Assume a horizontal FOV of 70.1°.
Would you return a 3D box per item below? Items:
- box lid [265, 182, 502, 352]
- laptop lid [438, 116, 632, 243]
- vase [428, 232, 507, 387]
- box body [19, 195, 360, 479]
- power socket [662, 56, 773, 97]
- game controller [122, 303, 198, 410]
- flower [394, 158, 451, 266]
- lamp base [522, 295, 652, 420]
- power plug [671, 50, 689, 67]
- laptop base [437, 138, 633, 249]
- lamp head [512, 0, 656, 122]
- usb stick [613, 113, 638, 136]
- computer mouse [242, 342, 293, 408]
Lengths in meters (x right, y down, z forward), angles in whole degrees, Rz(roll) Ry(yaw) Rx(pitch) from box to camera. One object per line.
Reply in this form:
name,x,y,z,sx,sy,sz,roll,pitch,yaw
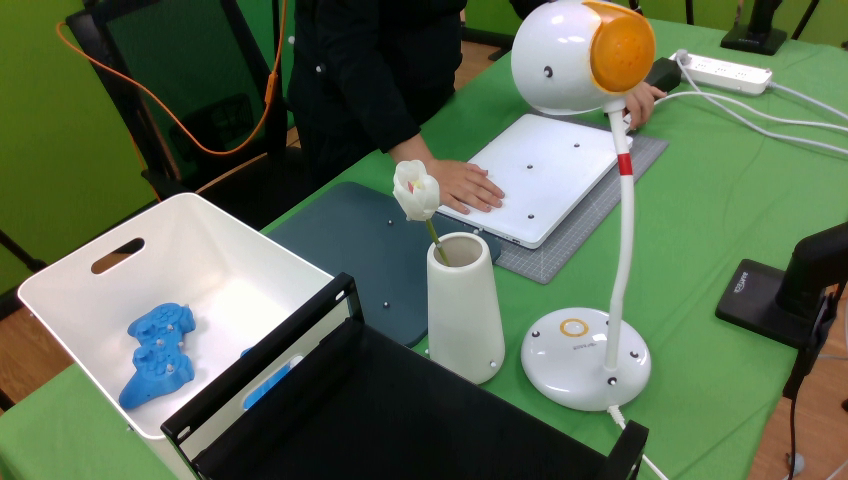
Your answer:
box lid,-0.087,0.023,0.971,0.368,0.015,0.264,23,49,31
laptop lid,0.190,-0.126,1.081,0.239,0.013,0.358,23,48,35
vase,0.051,0.087,0.727,0.098,0.201,0.097,-3,40,3
box body,-0.287,0.118,0.772,0.361,0.161,0.255,26,50,33
power socket,0.620,-0.352,1.289,0.225,0.033,0.072,26,50,33
game controller,-0.363,0.149,0.828,0.097,0.052,0.154,-14,41,-9
flower,0.029,0.035,0.664,0.043,0.364,0.038,36,73,29
lamp base,0.201,0.095,0.709,0.161,0.181,0.178,-16,43,-10
power plug,0.541,-0.379,1.302,0.073,0.053,0.035,-30,47,-22
laptop base,0.194,-0.117,1.087,0.233,0.023,0.355,20,48,35
lamp head,0.156,-0.168,0.563,0.113,0.113,0.122,-18,23,-12
usb stick,0.379,-0.213,1.148,0.021,0.027,0.059,43,74,15
computer mouse,-0.200,0.178,0.776,0.063,0.041,0.116,-11,42,-8
